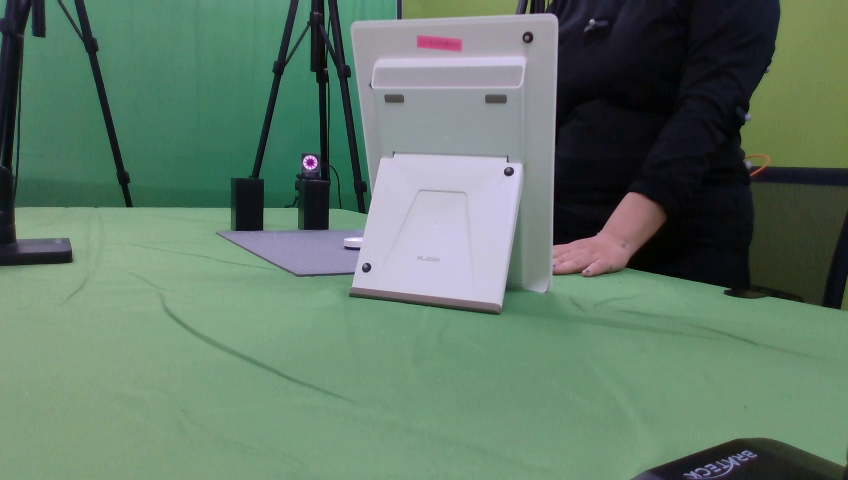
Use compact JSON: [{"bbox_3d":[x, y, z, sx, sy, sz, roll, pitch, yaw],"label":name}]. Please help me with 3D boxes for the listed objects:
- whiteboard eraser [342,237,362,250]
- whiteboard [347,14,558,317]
[{"bbox_3d":[-0.082,0.004,0.968,0.102,0.019,0.041,0,7,-31],"label":"whiteboard eraser"},{"bbox_3d":[0.012,-0.056,0.609,0.216,0.305,0.144,5,27,20],"label":"whiteboard"}]
